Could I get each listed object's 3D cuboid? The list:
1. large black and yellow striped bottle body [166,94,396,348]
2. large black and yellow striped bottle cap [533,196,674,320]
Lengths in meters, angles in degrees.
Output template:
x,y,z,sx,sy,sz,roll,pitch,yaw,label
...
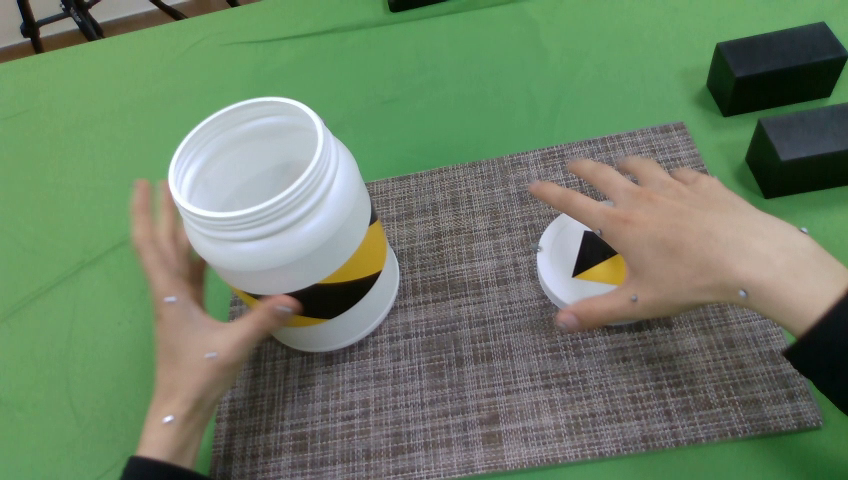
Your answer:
x,y,z,sx,sy,sz,roll,pitch,yaw,label
-0.103,-0.009,0.474,0.130,0.186,0.129,-6,55,9,large black and yellow striped bottle body
0.150,0.012,0.509,0.115,0.019,0.114,-5,57,9,large black and yellow striped bottle cap
